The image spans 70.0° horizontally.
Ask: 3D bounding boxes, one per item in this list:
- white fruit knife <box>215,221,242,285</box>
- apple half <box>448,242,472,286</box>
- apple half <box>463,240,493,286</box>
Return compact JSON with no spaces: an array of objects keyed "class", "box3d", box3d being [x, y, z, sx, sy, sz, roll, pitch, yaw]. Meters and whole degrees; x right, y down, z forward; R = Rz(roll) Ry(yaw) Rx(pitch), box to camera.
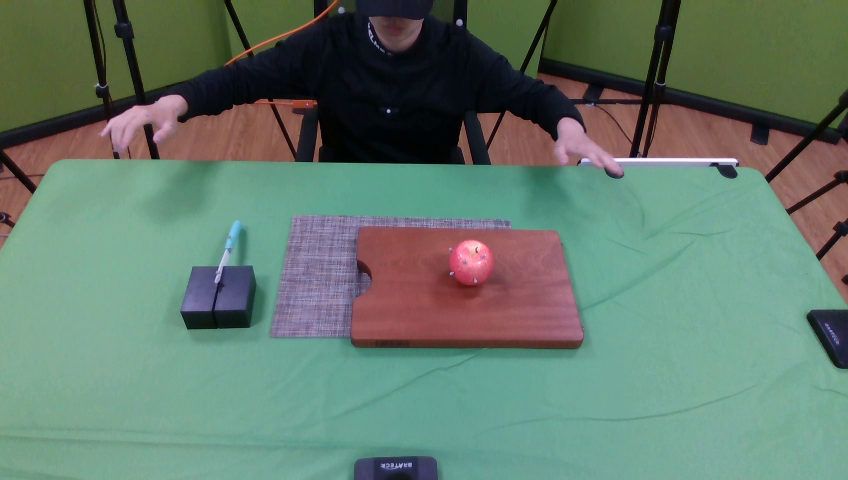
[{"class":"white fruit knife","box3d":[-0.360,0.019,1.114,0.016,0.027,0.206,-1,32,-5]},{"class":"apple half","box3d":[0.059,0.046,1.085,0.033,0.081,0.080,-3,46,-13]},{"class":"apple half","box3d":[0.097,0.042,1.093,0.053,0.075,0.080,-3,42,-13]}]
